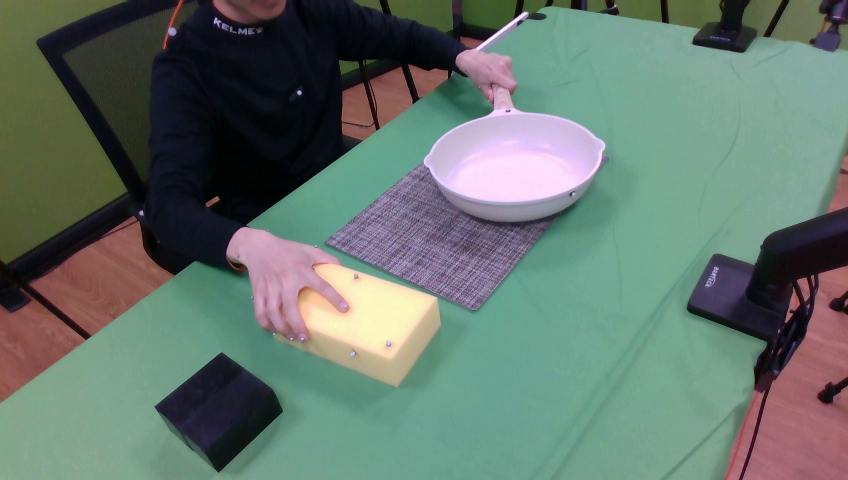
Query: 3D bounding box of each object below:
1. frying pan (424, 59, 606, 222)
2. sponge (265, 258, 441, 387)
[{"bbox_3d":[0.157,-0.202,1.113,0.307,0.103,0.485,-3,47,4],"label":"frying pan"},{"bbox_3d":[-0.096,0.107,0.830,0.205,0.061,0.118,16,46,25],"label":"sponge"}]
